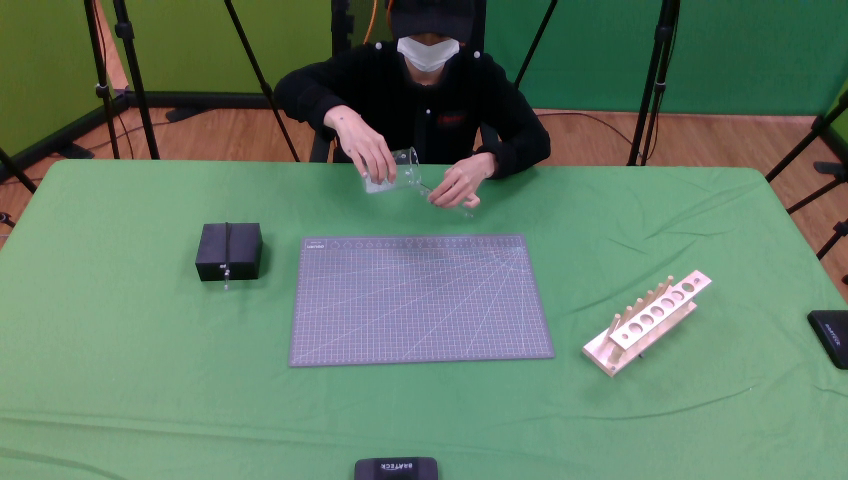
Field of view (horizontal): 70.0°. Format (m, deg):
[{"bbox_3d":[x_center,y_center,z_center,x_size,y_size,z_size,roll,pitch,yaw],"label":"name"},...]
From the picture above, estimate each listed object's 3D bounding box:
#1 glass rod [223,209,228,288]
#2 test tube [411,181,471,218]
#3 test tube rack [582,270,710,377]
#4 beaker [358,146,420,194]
[{"bbox_3d":[-0.360,0.010,1.098,0.008,0.008,0.198,-7,47,-12],"label":"glass rod"},{"bbox_3d":[0.035,-0.077,1.171,0.151,0.017,0.017,26,34,-35],"label":"test tube"},{"bbox_3d":[0.389,0.132,1.057,0.242,0.085,0.066,-28,53,-28],"label":"test tube rack"},{"bbox_3d":[-0.065,-0.122,1.095,0.100,0.084,0.073,-10,42,-10],"label":"beaker"}]
